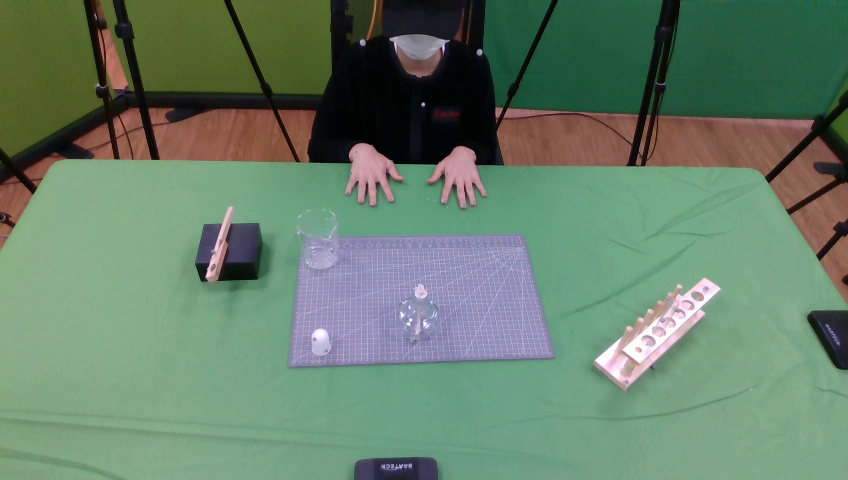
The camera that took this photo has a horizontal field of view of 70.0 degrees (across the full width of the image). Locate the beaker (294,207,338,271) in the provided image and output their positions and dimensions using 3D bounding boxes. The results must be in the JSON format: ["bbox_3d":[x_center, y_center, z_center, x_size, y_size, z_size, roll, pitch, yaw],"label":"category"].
[{"bbox_3d":[-0.196,0.003,1.123,0.074,0.101,0.083,-23,53,-24],"label":"beaker"}]

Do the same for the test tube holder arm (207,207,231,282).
[{"bbox_3d":[-0.371,0.004,1.100,0.013,0.015,0.177,-4,47,-1],"label":"test tube holder arm"}]

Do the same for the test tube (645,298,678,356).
[{"bbox_3d":[0.378,0.143,0.976,0.017,0.151,0.017,1,48,-1],"label":"test tube"}]

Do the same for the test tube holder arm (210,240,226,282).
[{"bbox_3d":[-0.363,0.036,1.070,0.010,0.015,0.087,-3,47,-1],"label":"test tube holder arm"}]

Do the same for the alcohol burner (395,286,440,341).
[{"bbox_3d":[-0.010,0.116,1.018,0.078,0.119,0.077,3,47,-3],"label":"alcohol burner"}]

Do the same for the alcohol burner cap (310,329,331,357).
[{"bbox_3d":[-0.173,0.168,1.005,0.034,0.048,0.033,2,46,-2],"label":"alcohol burner cap"}]

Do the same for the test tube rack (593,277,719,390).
[{"bbox_3d":[0.401,0.148,1.043,0.242,0.085,0.066,-30,55,-29],"label":"test tube rack"}]
